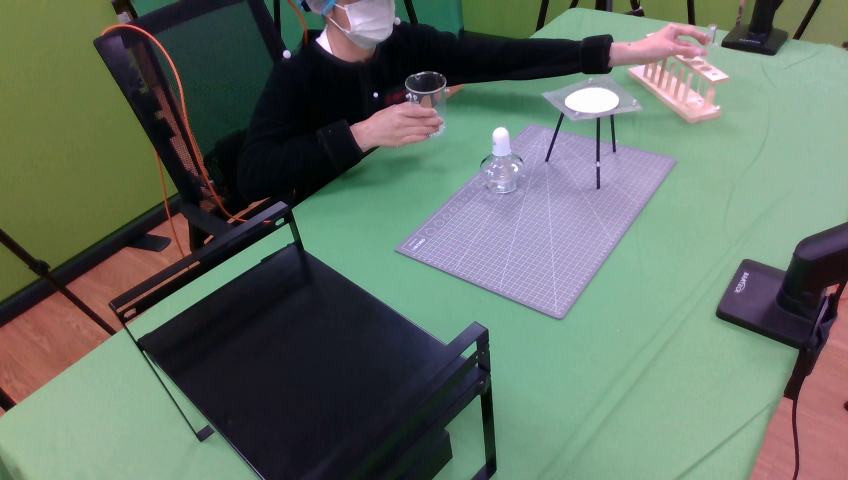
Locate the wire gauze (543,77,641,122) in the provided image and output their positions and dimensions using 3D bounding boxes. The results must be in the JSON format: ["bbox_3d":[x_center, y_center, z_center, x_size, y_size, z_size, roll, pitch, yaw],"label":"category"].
[{"bbox_3d":[0.282,-0.236,1.020,0.125,0.011,0.120,-15,40,-6],"label":"wire gauze"}]

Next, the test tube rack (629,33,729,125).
[{"bbox_3d":[0.516,-0.337,1.248,0.067,0.085,0.240,-14,41,-7],"label":"test tube rack"}]

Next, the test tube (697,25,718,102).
[{"bbox_3d":[0.546,-0.337,1.166,0.017,0.151,0.017,-5,36,4],"label":"test tube"}]

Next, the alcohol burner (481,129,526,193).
[{"bbox_3d":[0.138,-0.142,1.052,0.078,0.119,0.077,-5,42,5],"label":"alcohol burner"}]

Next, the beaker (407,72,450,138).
[{"bbox_3d":[0.008,-0.247,1.113,0.074,0.100,0.083,-21,47,-17],"label":"beaker"}]

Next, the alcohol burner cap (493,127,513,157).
[{"bbox_3d":[0.133,-0.169,1.030,0.034,0.048,0.033,-7,35,5],"label":"alcohol burner cap"}]

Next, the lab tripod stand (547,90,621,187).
[{"bbox_3d":[0.289,-0.184,1.062,0.148,0.132,0.147,-6,41,6],"label":"lab tripod stand"}]
